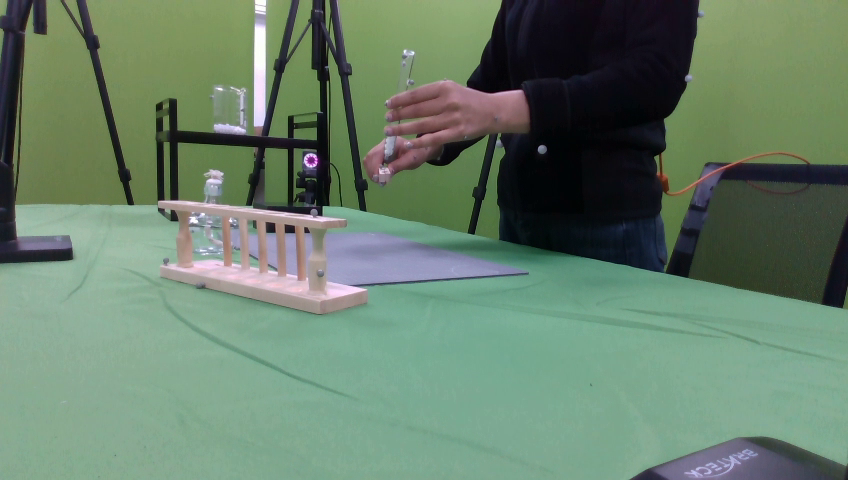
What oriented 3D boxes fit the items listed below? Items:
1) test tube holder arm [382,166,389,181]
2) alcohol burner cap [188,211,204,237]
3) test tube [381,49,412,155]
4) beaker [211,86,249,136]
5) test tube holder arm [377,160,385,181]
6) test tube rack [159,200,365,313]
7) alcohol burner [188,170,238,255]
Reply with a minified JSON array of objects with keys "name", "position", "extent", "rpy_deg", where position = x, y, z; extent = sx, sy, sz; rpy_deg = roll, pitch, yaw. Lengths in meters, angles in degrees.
[{"name":"test tube holder arm","position":[-0.060,-0.104,0.941],"extent":[0.010,0.015,0.087],"rpy_deg":[3,13,-6]},{"name":"alcohol burner cap","position":[-0.389,-0.029,1.026],"extent":[0.034,0.048,0.034],"rpy_deg":[2,9,0]},{"name":"test tube","position":[-0.038,-0.185,0.825],"extent":[0.017,0.150,0.017],"rpy_deg":[11,31,-6]},{"name":"beaker","position":[-0.413,-0.274,1.297],"extent":[0.074,0.100,0.083],"rpy_deg":[-5,11,-44]},{"name":"test tube holder arm","position":[-0.071,-0.115,0.984],"extent":[0.013,0.015,0.178],"rpy_deg":[3,13,-8]},{"name":"test tube rack","position":[-0.173,0.008,0.624],"extent":[0.241,0.085,0.067],"rpy_deg":[7,9,34]},{"name":"alcohol burner","position":[-0.298,-0.039,0.852],"extent":[0.078,0.119,0.078],"rpy_deg":[3,6,0]}]
